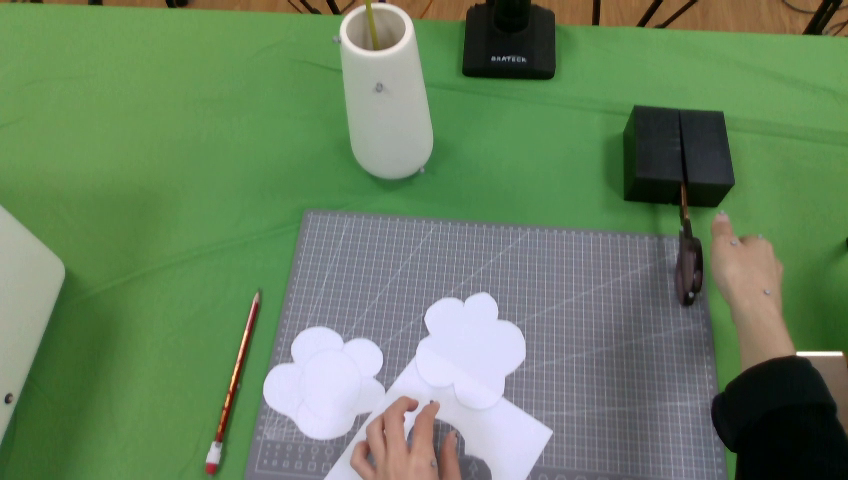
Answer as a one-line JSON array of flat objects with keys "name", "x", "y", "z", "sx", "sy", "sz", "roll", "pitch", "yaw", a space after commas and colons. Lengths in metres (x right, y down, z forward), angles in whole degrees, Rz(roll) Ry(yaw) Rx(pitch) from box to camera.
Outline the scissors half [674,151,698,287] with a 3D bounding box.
[{"name": "scissors half", "x": 0.272, "y": -0.029, "z": 0.635, "sx": 0.013, "sy": 0.040, "sz": 0.173, "roll": 6, "pitch": 54, "yaw": 6}]

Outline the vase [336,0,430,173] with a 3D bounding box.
[{"name": "vase", "x": -0.045, "y": -0.159, "z": 0.651, "sx": 0.098, "sy": 0.201, "sz": 0.097, "roll": -1, "pitch": 62, "yaw": 2}]

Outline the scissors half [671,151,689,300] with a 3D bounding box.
[{"name": "scissors half", "x": 0.274, "y": -0.020, "z": 0.653, "sx": 0.013, "sy": 0.040, "sz": 0.174, "roll": 4, "pitch": 72, "yaw": 11}]

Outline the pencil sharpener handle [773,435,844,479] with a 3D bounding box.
[{"name": "pencil sharpener handle", "x": 0.324, "y": 0.185, "z": 0.510, "sx": 0.036, "sy": 0.068, "sz": 0.030, "roll": 6, "pitch": 63, "yaw": -11}]

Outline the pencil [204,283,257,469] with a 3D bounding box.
[{"name": "pencil", "x": -0.194, "y": 0.132, "z": 0.618, "sx": 0.012, "sy": 0.012, "sz": 0.192, "roll": 5, "pitch": 62, "yaw": 4}]

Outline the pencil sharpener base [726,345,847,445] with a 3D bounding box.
[{"name": "pencil sharpener base", "x": 0.328, "y": 0.145, "z": 0.543, "sx": 0.061, "sy": 0.108, "sz": 0.076, "roll": 0, "pitch": 64, "yaw": 1}]

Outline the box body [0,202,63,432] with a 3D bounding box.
[{"name": "box body", "x": -0.530, "y": 0.127, "z": 0.542, "sx": 0.254, "sy": 0.161, "sz": 0.361, "roll": 4, "pitch": 64, "yaw": 4}]

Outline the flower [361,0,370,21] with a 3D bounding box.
[{"name": "flower", "x": -0.053, "y": -0.209, "z": 0.583, "sx": 0.044, "sy": 0.365, "sz": 0.038, "roll": -2, "pitch": 46, "yaw": 4}]
